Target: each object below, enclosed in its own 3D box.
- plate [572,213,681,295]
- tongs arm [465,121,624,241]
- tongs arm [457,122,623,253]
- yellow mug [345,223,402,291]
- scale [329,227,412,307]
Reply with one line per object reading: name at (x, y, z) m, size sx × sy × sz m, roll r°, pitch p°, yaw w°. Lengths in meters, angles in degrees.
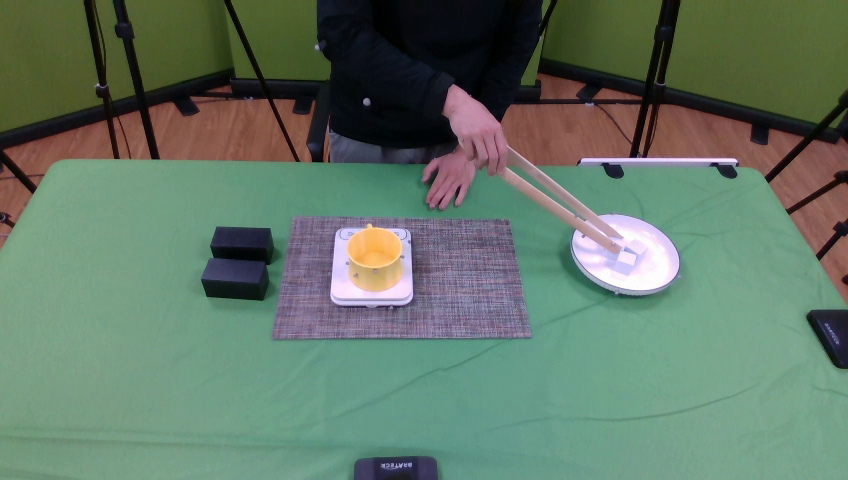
plate at (0.393, 0.030, 1.189) m, size 0.208 × 0.039 × 0.206 m, roll 2°, pitch 46°, yaw -2°
tongs arm at (0.230, -0.110, 1.156) m, size 0.388 × 0.028 × 0.028 m, roll 35°, pitch 54°, yaw -11°
tongs arm at (0.222, -0.094, 1.140) m, size 0.386 × 0.026 × 0.050 m, roll 31°, pitch 51°, yaw -14°
yellow mug at (-0.092, 0.022, 1.093) m, size 0.100 × 0.064 × 0.130 m, roll -7°, pitch 46°, yaw -10°
scale at (-0.099, 0.042, 1.139) m, size 0.149 × 0.032 × 0.199 m, roll 1°, pitch 46°, yaw -4°
